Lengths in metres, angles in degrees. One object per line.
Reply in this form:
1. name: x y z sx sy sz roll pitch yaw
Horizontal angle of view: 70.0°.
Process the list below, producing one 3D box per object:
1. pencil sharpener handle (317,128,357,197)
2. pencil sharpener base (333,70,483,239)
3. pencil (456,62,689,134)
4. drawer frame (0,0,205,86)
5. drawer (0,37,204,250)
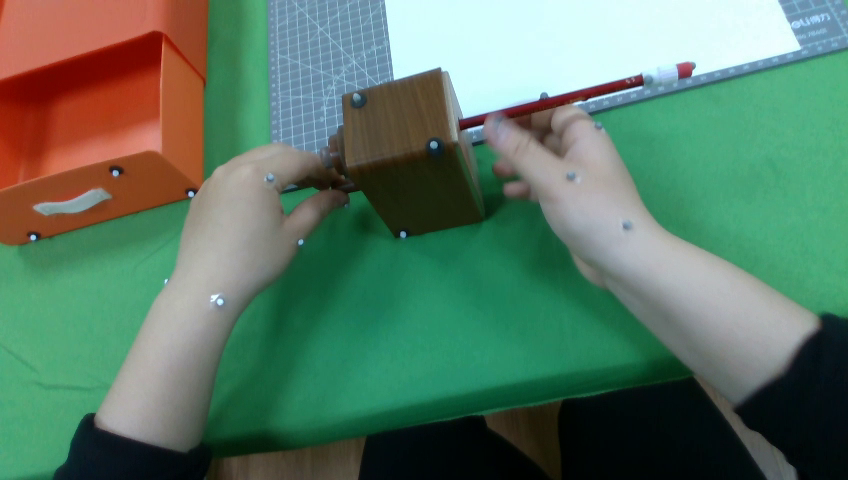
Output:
1. pencil sharpener handle: -0.061 -0.047 0.410 0.030 0.068 0.035 -13 70 10
2. pencil sharpener base: -0.008 -0.052 0.412 0.076 0.108 0.061 -13 64 10
3. pencil: 0.063 -0.080 0.374 0.194 0.012 0.012 -13 64 10
4. drawer frame: -0.317 -0.219 0.583 0.201 0.083 0.211 -14 63 9
5. drawer: -0.298 -0.114 0.533 0.194 0.074 0.210 -15 63 9
